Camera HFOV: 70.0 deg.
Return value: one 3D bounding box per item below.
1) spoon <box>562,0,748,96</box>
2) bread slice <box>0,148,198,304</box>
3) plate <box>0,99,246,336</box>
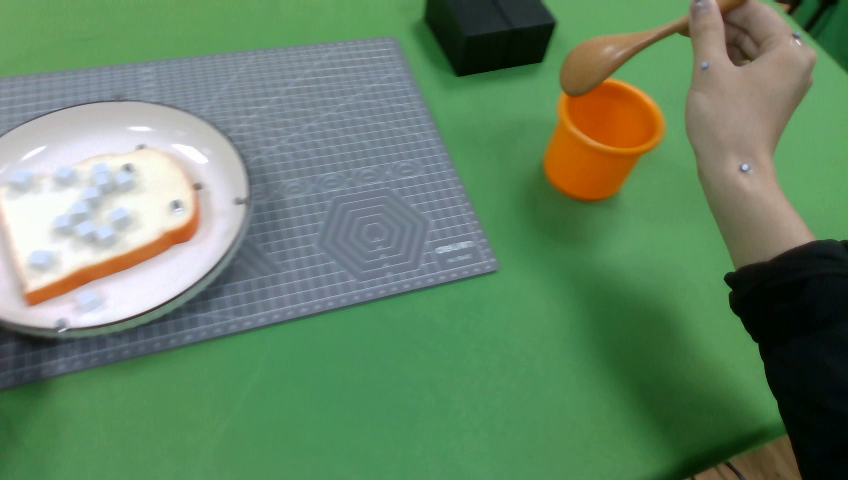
[{"bbox_3d":[0.179,-0.153,0.424,0.022,0.193,0.041,15,63,-49],"label":"spoon"},{"bbox_3d":[-0.242,-0.022,0.453,0.131,0.019,0.104,-27,65,-23],"label":"bread slice"},{"bbox_3d":[-0.238,-0.020,0.449,0.209,0.038,0.207,5,56,-7],"label":"plate"}]
